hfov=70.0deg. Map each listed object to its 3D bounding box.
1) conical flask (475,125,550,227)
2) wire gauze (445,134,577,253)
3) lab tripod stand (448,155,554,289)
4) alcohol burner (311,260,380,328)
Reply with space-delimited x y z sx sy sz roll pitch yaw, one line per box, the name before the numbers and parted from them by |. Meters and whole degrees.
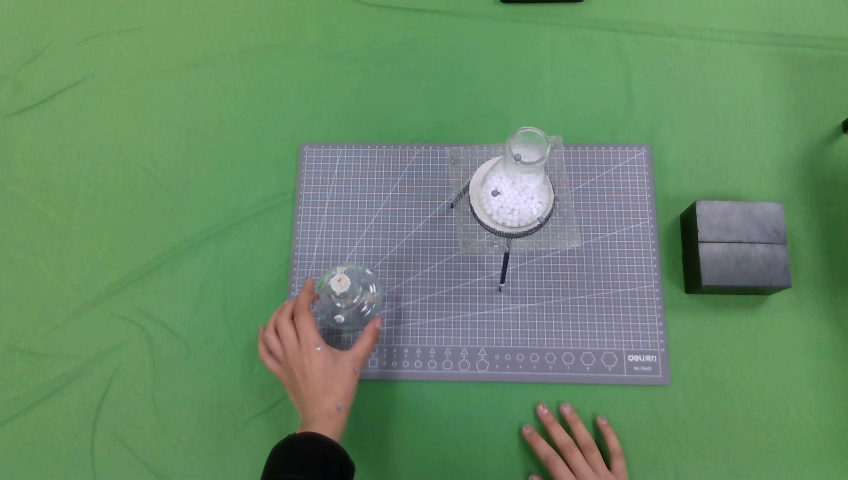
conical flask | 0.088 -0.063 0.563 0.075 0.122 0.075 0 73 2
wire gauze | 0.089 -0.047 0.620 0.125 0.011 0.121 -4 77 -3
lab tripod stand | 0.093 -0.032 0.683 0.148 0.132 0.147 0 73 1
alcohol burner | -0.089 0.056 0.675 0.078 0.120 0.077 0 73 1
